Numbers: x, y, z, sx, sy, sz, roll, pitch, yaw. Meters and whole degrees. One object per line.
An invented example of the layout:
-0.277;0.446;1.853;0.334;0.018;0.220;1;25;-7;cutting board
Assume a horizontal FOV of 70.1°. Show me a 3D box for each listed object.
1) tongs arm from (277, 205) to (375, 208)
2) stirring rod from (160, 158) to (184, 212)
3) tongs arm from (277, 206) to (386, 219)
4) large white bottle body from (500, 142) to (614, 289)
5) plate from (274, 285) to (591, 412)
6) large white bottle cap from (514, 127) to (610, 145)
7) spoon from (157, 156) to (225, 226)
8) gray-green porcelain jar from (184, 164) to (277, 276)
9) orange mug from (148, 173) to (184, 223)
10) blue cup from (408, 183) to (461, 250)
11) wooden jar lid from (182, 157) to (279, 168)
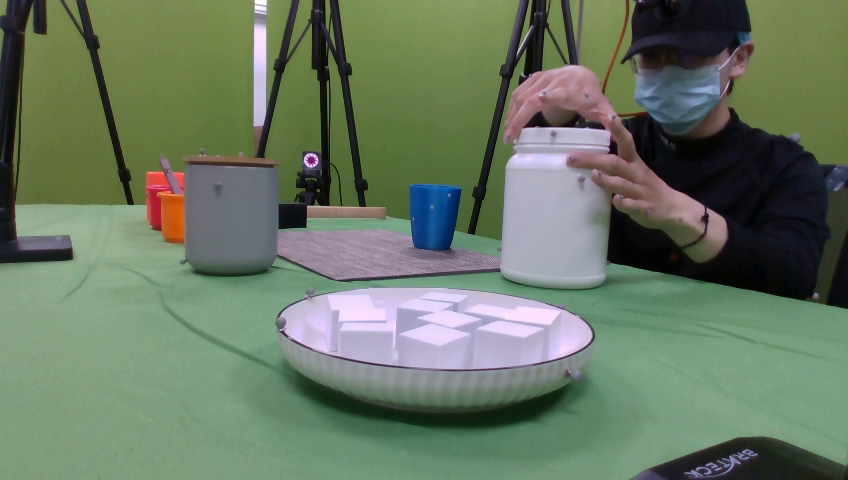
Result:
-0.288;-0.070;1.435;0.389;0.027;0.028;1;0;-18;tongs arm
-0.391;-0.070;0.972;0.014;0.006;0.175;-1;50;-49;stirring rod
-0.252;-0.062;1.360;0.387;0.026;0.050;-1;4;-31;tongs arm
0.163;-0.041;0.744;0.131;0.184;0.130;2;7;0;large white bottle body
0.005;0.069;0.408;0.208;0.039;0.207;2;7;0;plate
0.167;-0.125;0.733;0.115;0.018;0.115;2;8;0;large white bottle cap
-0.425;-0.094;1.117;0.041;0.022;0.194;5;51;29;spoon
-0.230;-0.025;0.722;0.106;0.126;0.106;3;7;0;gray-green porcelain jar
-0.490;-0.087;1.222;0.127;0.101;0.083;-9;13;-38;orange mug
0.015;-0.038;0.969;0.093;0.100;0.092;3;9;0;blue cup
-0.227;-0.086;0.714;0.108;0.020;0.108;1;6;0;wooden jar lid
